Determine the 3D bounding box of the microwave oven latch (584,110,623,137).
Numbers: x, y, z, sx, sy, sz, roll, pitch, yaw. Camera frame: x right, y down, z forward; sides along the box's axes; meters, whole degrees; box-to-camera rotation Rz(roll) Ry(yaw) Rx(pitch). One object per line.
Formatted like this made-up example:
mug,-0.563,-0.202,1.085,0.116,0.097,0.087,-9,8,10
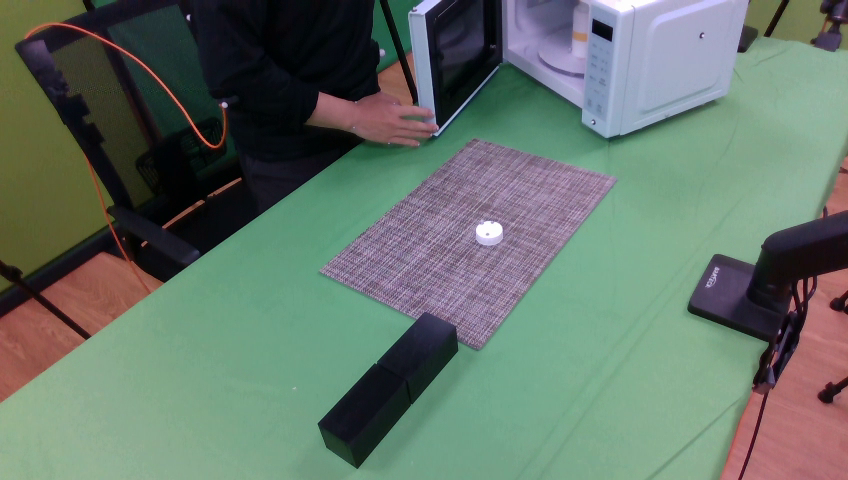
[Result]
microwave oven latch,0.337,-0.222,1.142,0.030,0.029,0.078,-21,42,-14

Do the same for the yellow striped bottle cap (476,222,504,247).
yellow striped bottle cap,0.105,-0.010,0.966,0.044,0.019,0.044,-4,39,3

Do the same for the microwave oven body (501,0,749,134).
microwave oven body,0.381,-0.444,1.246,0.327,0.261,0.437,-22,42,-16

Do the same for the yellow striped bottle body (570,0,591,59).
yellow striped bottle body,0.339,-0.449,1.269,0.063,0.121,0.062,-6,44,6

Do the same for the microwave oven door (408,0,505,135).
microwave oven door,0.079,-0.411,1.241,0.039,0.245,0.356,15,46,24
